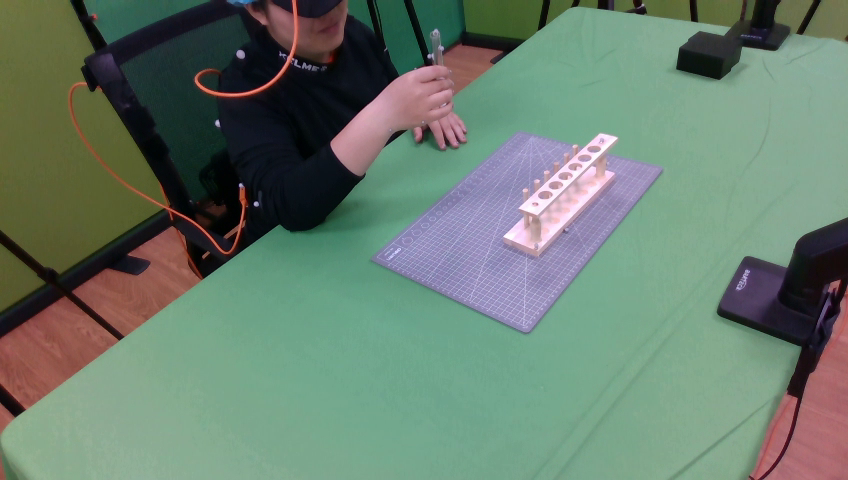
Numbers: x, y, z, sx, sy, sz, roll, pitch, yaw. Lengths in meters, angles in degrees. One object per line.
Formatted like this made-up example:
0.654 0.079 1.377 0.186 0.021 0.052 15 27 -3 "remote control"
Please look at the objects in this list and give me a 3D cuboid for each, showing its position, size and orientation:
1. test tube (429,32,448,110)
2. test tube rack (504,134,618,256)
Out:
0.024 -0.262 0.951 0.017 0.151 0.017 -4 56 6 "test tube"
0.225 -0.083 0.985 0.066 0.085 0.243 25 51 34 "test tube rack"
